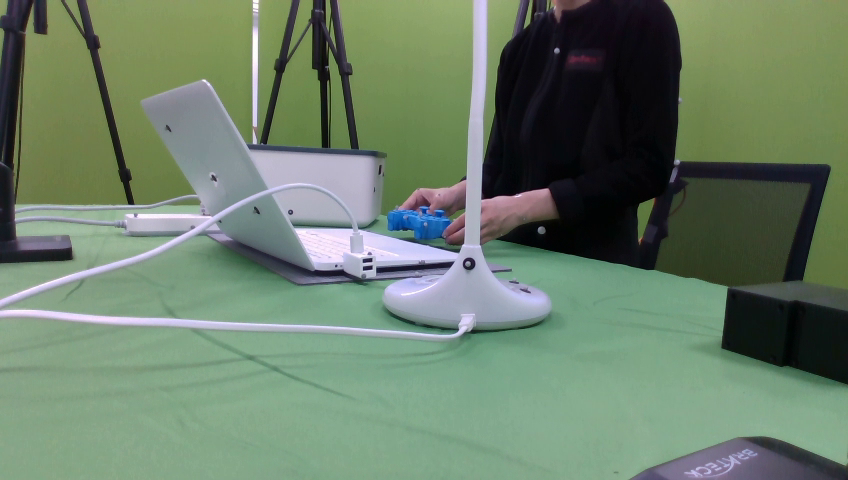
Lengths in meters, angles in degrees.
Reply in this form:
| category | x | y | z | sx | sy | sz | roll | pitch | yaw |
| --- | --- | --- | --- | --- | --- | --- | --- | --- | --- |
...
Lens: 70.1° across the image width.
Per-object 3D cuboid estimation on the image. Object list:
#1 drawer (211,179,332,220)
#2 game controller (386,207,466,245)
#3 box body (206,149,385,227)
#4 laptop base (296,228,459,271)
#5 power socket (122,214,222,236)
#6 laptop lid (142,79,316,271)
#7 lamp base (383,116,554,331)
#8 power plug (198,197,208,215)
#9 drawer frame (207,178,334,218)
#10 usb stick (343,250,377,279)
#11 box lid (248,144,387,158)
| category | x | y | z | sx | sy | sz | roll | pitch | yaw |
| --- | --- | --- | --- | --- | --- | --- | --- | --- | --- |
| drawer | -0.328 | -0.096 | 1.333 | 0.212 | 0.073 | 0.194 | 5 | 9 | 6 |
| game controller | 0.003 | -0.028 | 1.032 | 0.097 | 0.051 | 0.154 | 1 | 9 | -32 |
| box body | -0.276 | -0.124 | 1.334 | 0.364 | 0.160 | 0.254 | 3 | 7 | 1 |
| laptop base | -0.122 | 0.011 | 0.889 | 0.237 | 0.023 | 0.352 | 2 | 6 | -35 |
| power socket | -0.398 | -0.028 | 1.049 | 0.228 | 0.032 | 0.072 | -3 | 8 | -34 |
| laptop lid | -0.265 | -0.082 | 0.775 | 0.013 | 0.242 | 0.355 | -37 | 28 | -25 |
| lamp base | 0.045 | -0.019 | 0.547 | 0.161 | 0.180 | 0.179 | 2 | 10 | -4 |
| power plug | -0.387 | -0.055 | 1.089 | 0.035 | 0.052 | 0.072 | -1 | 6 | -22 |
| drawer frame | -0.327 | -0.093 | 1.328 | 0.213 | 0.082 | 0.202 | -1 | 5 | 7 |
| usb stick | -0.076 | 0.026 | 0.687 | 0.021 | 0.027 | 0.059 | -8 | 9 | -31 |
| box lid | -0.275 | -0.197 | 1.326 | 0.372 | 0.015 | 0.263 | 4 | 8 | 1 |
